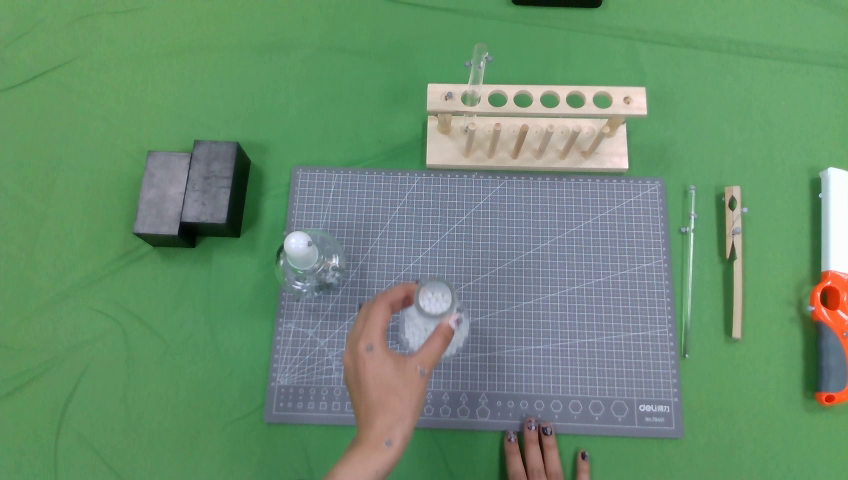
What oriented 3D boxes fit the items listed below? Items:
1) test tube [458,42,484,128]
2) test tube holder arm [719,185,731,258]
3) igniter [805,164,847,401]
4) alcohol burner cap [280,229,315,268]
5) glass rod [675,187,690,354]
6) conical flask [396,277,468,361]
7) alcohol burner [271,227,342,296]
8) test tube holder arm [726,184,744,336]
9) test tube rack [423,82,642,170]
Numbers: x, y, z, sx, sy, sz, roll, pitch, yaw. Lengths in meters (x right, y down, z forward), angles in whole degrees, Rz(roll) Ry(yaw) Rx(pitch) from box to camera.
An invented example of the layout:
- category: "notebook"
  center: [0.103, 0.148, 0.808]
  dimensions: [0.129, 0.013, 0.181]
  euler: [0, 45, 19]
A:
- category: "test tube"
  center: [0.050, -0.165, 0.666]
  dimensions: [0.017, 0.151, 0.017]
  euler: [1, 71, -1]
- category: "test tube holder arm"
  center: [0.355, -0.022, 0.712]
  dimensions: [0.010, 0.015, 0.087]
  euler: [-7, 70, 36]
- category: "igniter"
  center: [0.460, 0.044, 0.686]
  dimensions: [0.057, 0.025, 0.275]
  euler: [13, 74, -7]
- category: "alcohol burner cap"
  center: [-0.129, 0.006, 0.612]
  dimensions: [0.034, 0.048, 0.033]
  euler: [1, 70, -4]
- category: "glass rod"
  center: [0.299, 0.032, 0.699]
  dimensions: [0.008, 0.008, 0.199]
  euler: [9, 76, 2]
- category: "conical flask"
  center: [0.008, 0.071, 0.581]
  dimensions: [0.075, 0.122, 0.075]
  euler: [0, 70, 0]
- category: "alcohol burner"
  center: [-0.129, 0.018, 0.646]
  dimensions: [0.078, 0.120, 0.077]
  euler: [-1, 72, 3]
- category: "test tube holder arm"
  center: [0.356, 0.020, 0.696]
  dimensions: [0.013, 0.015, 0.177]
  euler: [-9, 69, 36]
- category: "test tube rack"
  center: [0.120, -0.131, 0.708]
  dimensions: [0.242, 0.085, 0.066]
  euler: [1, 73, 0]
